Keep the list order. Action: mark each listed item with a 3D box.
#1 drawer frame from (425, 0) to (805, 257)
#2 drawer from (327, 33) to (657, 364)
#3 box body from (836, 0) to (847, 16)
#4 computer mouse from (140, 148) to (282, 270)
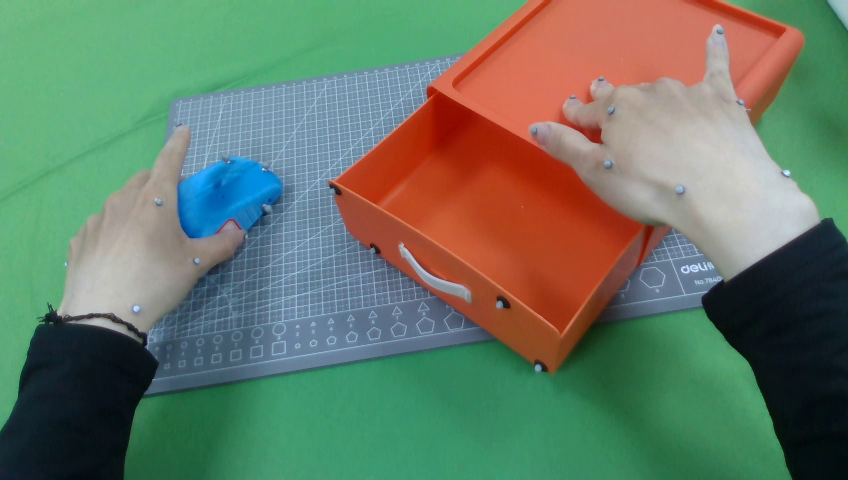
[{"bbox_3d":[0.144,-0.122,0.482,0.200,0.083,0.213,35,67,25],"label":"drawer frame"},{"bbox_3d":[0.073,-0.049,0.445,0.193,0.074,0.211,34,67,25],"label":"drawer"},{"bbox_3d":[0.496,-0.207,0.452,0.254,0.162,0.360,-8,58,2],"label":"box body"},{"bbox_3d":[-0.172,-0.031,0.489,0.062,0.041,0.117,28,63,24],"label":"computer mouse"}]
